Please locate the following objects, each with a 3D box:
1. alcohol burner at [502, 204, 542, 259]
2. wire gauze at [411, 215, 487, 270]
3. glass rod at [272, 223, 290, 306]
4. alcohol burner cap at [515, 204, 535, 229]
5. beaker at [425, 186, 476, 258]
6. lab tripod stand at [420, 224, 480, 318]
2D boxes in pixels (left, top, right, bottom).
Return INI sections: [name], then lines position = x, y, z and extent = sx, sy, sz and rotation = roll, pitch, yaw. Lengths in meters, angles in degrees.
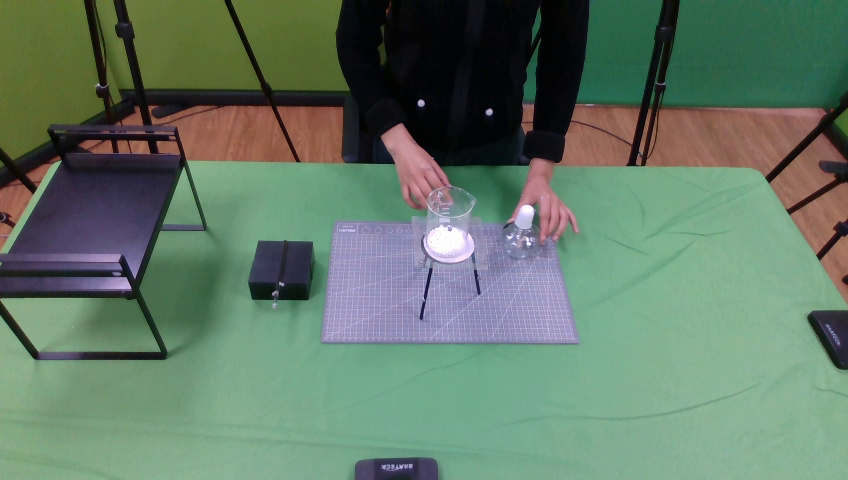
[alcohol burner]
position = 0.190, -0.021, 1.167
extent = 0.078, 0.120, 0.077
rotation = 1, 44, -1
[wire gauze]
position = 0.041, 0.003, 1.026
extent = 0.125, 0.011, 0.120
rotation = 0, 46, -1
[glass rod]
position = -0.255, 0.039, 1.084
extent = 0.008, 0.008, 0.198
rotation = 1, 46, -3
[alcohol burner cap]
position = 0.193, -0.047, 1.140
extent = 0.034, 0.048, 0.033
rotation = 4, 50, -5
[beaker]
position = 0.041, -0.027, 0.989
extent = 0.084, 0.101, 0.073
rotation = -12, 48, -15
[lab tripod stand]
position = 0.034, 0.051, 1.070
extent = 0.148, 0.132, 0.147
rotation = 3, 48, -3
